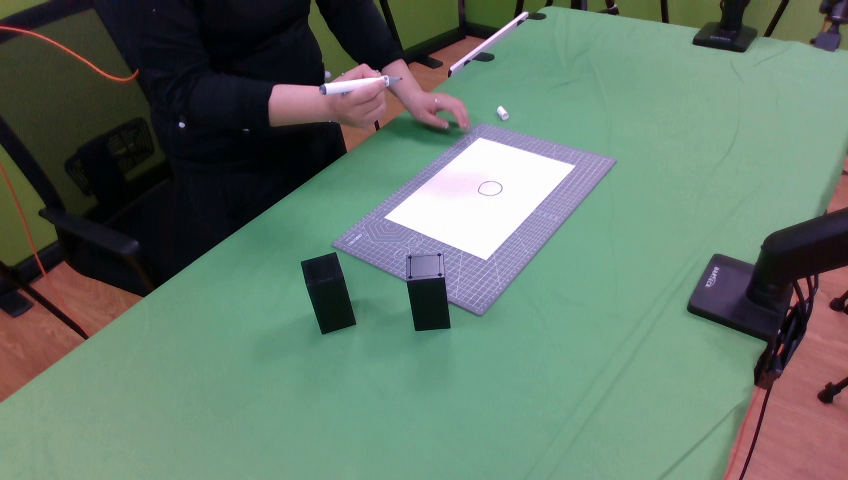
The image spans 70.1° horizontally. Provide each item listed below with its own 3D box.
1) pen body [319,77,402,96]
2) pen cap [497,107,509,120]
[{"bbox_3d":[-0.093,-0.235,0.917,0.145,0.017,0.016,-18,39,-32],"label":"pen body"},{"bbox_3d":[0.164,-0.264,1.261,0.017,0.017,0.038,-14,41,-7],"label":"pen cap"}]
